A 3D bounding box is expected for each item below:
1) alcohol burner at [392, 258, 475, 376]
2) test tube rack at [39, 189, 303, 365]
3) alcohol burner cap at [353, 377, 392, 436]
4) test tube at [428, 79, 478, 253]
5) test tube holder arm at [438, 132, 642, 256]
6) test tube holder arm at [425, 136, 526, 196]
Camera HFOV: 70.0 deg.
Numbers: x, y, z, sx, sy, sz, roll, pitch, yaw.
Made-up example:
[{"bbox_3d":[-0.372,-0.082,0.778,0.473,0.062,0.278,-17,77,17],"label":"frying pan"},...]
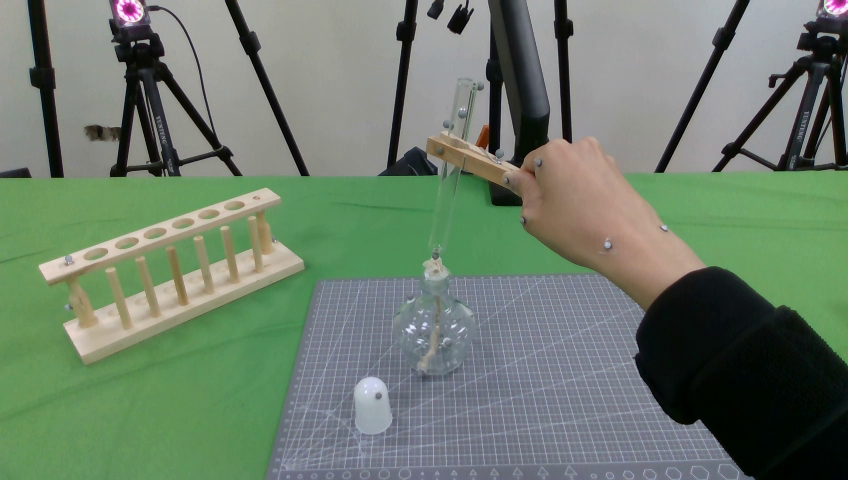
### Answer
[{"bbox_3d":[0.009,0.065,0.551,0.078,0.120,0.077,0,34,0],"label":"alcohol burner"},{"bbox_3d":[-0.256,0.030,0.647,0.243,0.086,0.066,-25,40,-33],"label":"test tube rack"},{"bbox_3d":[-0.044,0.136,0.507,0.034,0.048,0.033,0,32,0],"label":"alcohol burner cap"},{"bbox_3d":[0.020,-0.052,0.474,0.017,0.151,0.017,7,34,-4],"label":"test tube"},{"bbox_3d":[0.075,-0.037,0.431,0.177,0.015,0.013,33,42,31],"label":"test tube holder arm"},{"bbox_3d":[0.038,-0.056,0.449,0.087,0.015,0.010,28,39,25],"label":"test tube holder arm"}]
